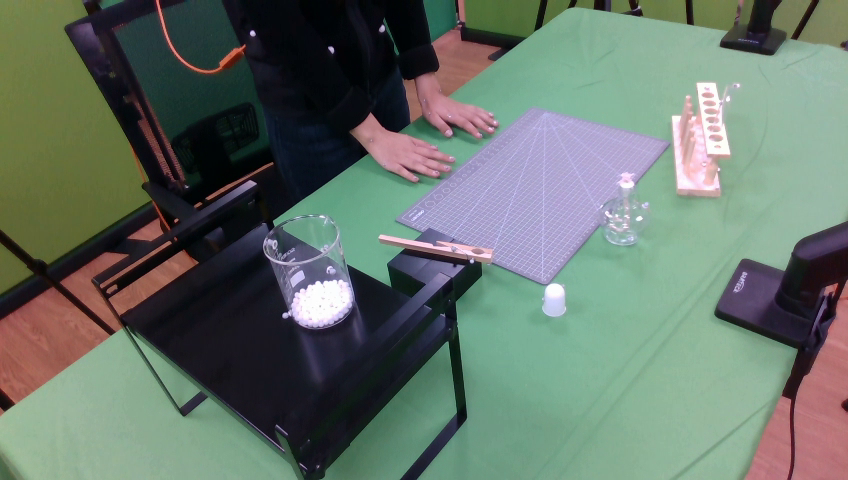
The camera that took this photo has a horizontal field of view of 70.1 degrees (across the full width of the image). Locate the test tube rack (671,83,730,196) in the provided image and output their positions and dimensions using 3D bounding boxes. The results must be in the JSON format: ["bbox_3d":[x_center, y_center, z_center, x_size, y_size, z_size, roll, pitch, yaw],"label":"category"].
[{"bbox_3d":[0.482,-0.184,1.067,0.066,0.085,0.242,5,42,15],"label":"test tube rack"}]

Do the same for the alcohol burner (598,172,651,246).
[{"bbox_3d":[0.306,-0.051,0.918,0.078,0.119,0.077,-5,40,5],"label":"alcohol burner"}]

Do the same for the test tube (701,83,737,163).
[{"bbox_3d":[0.485,-0.190,0.998,0.017,0.151,0.017,-1,44,2],"label":"test tube"}]

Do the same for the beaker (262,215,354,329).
[{"bbox_3d":[-0.112,0.034,0.616,0.073,0.101,0.084,13,44,23],"label":"beaker"}]

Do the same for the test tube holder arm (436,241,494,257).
[{"bbox_3d":[0.058,0.014,0.878,0.087,0.015,0.010,8,46,19],"label":"test tube holder arm"}]

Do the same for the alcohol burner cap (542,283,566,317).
[{"bbox_3d":[0.181,0.080,0.840,0.034,0.048,0.033,-3,40,3],"label":"alcohol burner cap"}]

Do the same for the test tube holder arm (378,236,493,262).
[{"bbox_3d":[0.014,0.012,0.888,0.177,0.015,0.013,7,46,18],"label":"test tube holder arm"}]
